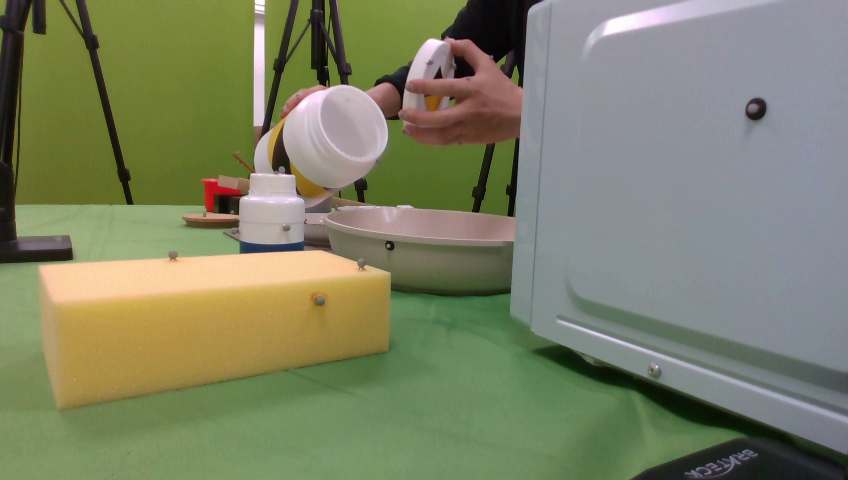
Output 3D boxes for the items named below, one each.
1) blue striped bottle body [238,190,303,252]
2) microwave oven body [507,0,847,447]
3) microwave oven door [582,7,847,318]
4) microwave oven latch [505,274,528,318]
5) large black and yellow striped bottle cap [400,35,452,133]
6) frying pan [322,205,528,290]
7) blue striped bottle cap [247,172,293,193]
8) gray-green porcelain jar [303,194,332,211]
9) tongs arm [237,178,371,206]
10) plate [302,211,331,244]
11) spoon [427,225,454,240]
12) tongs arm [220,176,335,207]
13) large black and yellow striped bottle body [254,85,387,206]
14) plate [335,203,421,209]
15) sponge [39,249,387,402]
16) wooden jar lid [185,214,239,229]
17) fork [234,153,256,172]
[{"bbox_3d":[-0.153,-0.007,0.606,0.063,0.120,0.063,2,7,0],"label":"blue striped bottle body"},{"bbox_3d":[0.331,-0.042,0.425,0.444,0.260,0.324,-2,8,-31],"label":"microwave oven body"},{"bbox_3d":[0.295,-0.067,0.569,0.358,0.243,0.039,-3,8,-31],"label":"microwave oven door"},{"bbox_3d":[0.100,0.041,0.472,0.079,0.029,0.030,-2,8,-31],"label":"microwave oven latch"},{"bbox_3d":[0.004,-0.186,0.729,0.019,0.115,0.115,19,13,18],"label":"large black and yellow striped bottle cap"},{"bbox_3d":[0.110,-0.018,0.799,0.490,0.102,0.305,-12,16,-30],"label":"frying pan"},{"bbox_3d":[-0.152,-0.057,0.598,0.044,0.020,0.044,3,6,0],"label":"blue striped bottle cap"},{"bbox_3d":[-0.238,-0.092,1.221,0.106,0.126,0.106,2,7,0],"label":"gray-green porcelain jar"},{"bbox_3d":[-0.241,-0.095,1.374,0.387,0.026,0.050,9,0,-37],"label":"tongs arm"},{"bbox_3d":[-0.139,-0.022,1.021,0.209,0.038,0.209,2,8,0],"label":"plate"},{"bbox_3d":[0.024,-0.019,1.125,0.042,0.021,0.193,-16,9,-4],"label":"spoon"},{"bbox_3d":[-0.285,-0.104,1.445,0.389,0.027,0.028,9,-4,-23],"label":"tongs arm"},{"bbox_3d":[-0.147,-0.132,0.860,0.131,0.130,0.183,-5,-11,-39],"label":"large black and yellow striped bottle body"},{"bbox_3d":[-0.089,-0.053,1.309,0.208,0.039,0.207,2,8,0],"label":"plate"},{"bbox_3d":[-0.142,0.047,0.420,0.208,0.061,0.117,-3,8,-36],"label":"sponge"},{"bbox_3d":[-0.404,-0.037,1.169,0.108,0.020,0.108,3,7,0],"label":"wooden jar lid"},{"bbox_3d":[-0.396,-0.143,1.486,0.028,0.018,0.208,19,-26,45],"label":"fork"}]
